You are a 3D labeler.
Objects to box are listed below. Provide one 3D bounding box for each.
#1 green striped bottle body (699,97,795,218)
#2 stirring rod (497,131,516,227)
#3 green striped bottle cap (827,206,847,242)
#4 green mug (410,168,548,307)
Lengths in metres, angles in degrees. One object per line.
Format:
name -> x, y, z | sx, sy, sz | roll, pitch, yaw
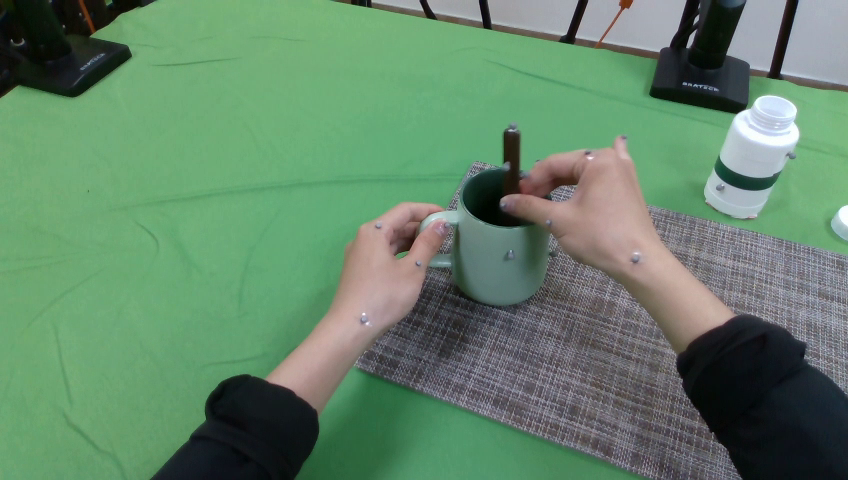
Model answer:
green striped bottle body -> 0.333, -0.086, 0.622 | 0.063, 0.120, 0.062 | 0, 47, 1
stirring rod -> 0.071, -0.022, 0.511 | 0.014, 0.178, 0.006 | 10, 52, 17
green striped bottle cap -> 0.445, -0.015, 0.626 | 0.044, 0.020, 0.044 | 1, 43, 0
green mug -> 0.050, 0.001, 0.548 | 0.125, 0.106, 0.091 | -6, 46, -4
